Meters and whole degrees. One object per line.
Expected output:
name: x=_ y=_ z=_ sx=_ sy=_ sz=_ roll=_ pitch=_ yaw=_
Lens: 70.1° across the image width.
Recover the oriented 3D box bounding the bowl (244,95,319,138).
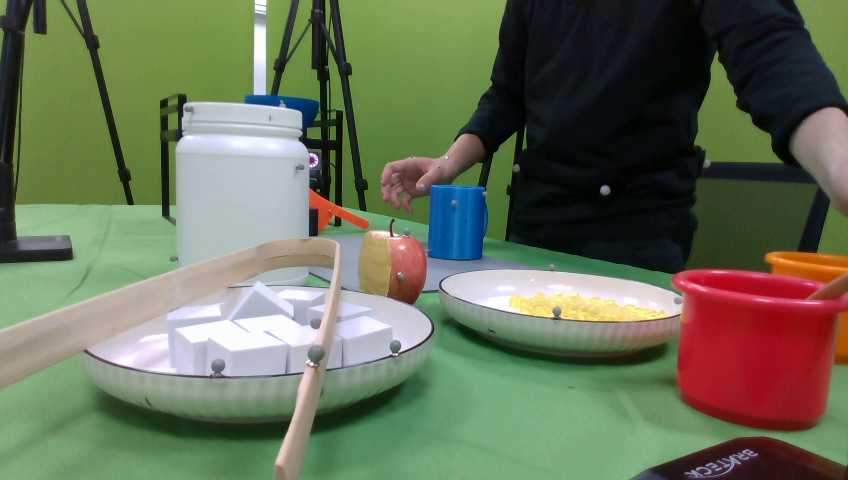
bowl: x=-0.293 y=-0.251 z=1.249 sx=0.151 sy=0.077 sz=0.151 roll=2 pitch=7 yaw=0

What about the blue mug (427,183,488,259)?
blue mug: x=0.059 y=-0.031 z=0.907 sx=0.082 sy=0.106 sz=0.117 roll=9 pitch=10 yaw=42

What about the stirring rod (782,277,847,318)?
stirring rod: x=0.345 y=0.019 z=0.460 sx=0.014 sy=0.006 sz=0.176 roll=-14 pitch=-27 yaw=-30

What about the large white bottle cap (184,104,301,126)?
large white bottle cap: x=-0.184 y=-0.126 z=0.618 sx=0.115 sy=0.018 sz=0.115 roll=2 pitch=8 yaw=0

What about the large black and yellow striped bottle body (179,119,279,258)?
large black and yellow striped bottle body: x=-0.271 y=-0.074 z=0.846 sx=0.131 sy=0.184 sz=0.130 roll=0 pitch=9 yaw=0

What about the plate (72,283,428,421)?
plate: x=-0.102 y=0.066 z=0.381 sx=0.208 sy=0.039 sz=0.207 roll=2 pitch=7 yaw=0

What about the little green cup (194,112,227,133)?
little green cup: x=-0.412 y=-0.228 z=1.171 sx=0.061 sy=0.038 sz=0.061 roll=2 pitch=8 yaw=0

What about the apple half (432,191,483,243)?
apple half: x=0.049 y=-0.036 z=0.905 sx=0.081 sy=0.081 sz=0.033 roll=2 pitch=14 yaw=-2

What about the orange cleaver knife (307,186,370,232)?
orange cleaver knife: x=-0.197 y=-0.056 z=1.140 sx=0.212 sy=0.077 sz=0.012 roll=29 pitch=0 yaw=-34

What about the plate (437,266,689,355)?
plate: x=0.114 y=0.057 z=0.518 sx=0.209 sy=0.038 sz=0.209 roll=3 pitch=7 yaw=0

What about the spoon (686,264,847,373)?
spoon: x=0.214 y=0.032 z=0.328 sx=0.042 sy=0.021 sz=0.193 roll=-3 pitch=-35 yaw=-26

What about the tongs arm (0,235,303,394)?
tongs arm: x=-0.157 y=0.038 z=0.351 sx=0.028 sy=0.028 sz=0.388 roll=-3 pitch=8 yaw=12

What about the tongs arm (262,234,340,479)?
tongs arm: x=-0.074 y=0.039 z=0.349 sx=0.051 sy=0.026 sz=0.384 roll=-2 pitch=10 yaw=-3

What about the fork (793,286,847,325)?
fork: x=0.332 y=0.018 z=0.443 sx=0.028 sy=0.018 sz=0.207 roll=-1 pitch=-36 yaw=-15

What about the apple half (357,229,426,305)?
apple half: x=-0.026 y=0.028 z=0.570 sx=0.053 sy=0.074 sz=0.080 roll=3 pitch=2 yaw=-28

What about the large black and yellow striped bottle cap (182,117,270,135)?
large black and yellow striped bottle cap: x=-0.272 y=-0.156 z=0.833 sx=0.115 sy=0.019 sz=0.115 roll=1 pitch=7 yaw=0

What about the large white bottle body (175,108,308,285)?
large white bottle body: x=-0.188 y=-0.042 z=0.630 sx=0.131 sy=0.184 sz=0.130 roll=2 pitch=8 yaw=0
